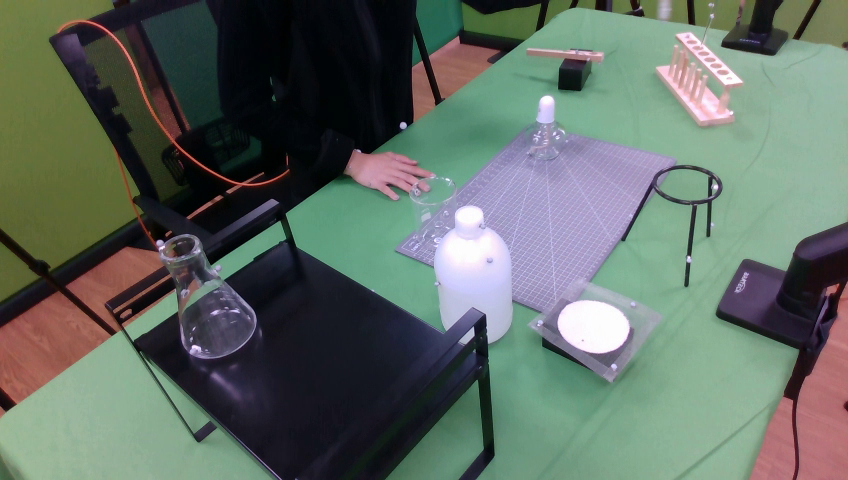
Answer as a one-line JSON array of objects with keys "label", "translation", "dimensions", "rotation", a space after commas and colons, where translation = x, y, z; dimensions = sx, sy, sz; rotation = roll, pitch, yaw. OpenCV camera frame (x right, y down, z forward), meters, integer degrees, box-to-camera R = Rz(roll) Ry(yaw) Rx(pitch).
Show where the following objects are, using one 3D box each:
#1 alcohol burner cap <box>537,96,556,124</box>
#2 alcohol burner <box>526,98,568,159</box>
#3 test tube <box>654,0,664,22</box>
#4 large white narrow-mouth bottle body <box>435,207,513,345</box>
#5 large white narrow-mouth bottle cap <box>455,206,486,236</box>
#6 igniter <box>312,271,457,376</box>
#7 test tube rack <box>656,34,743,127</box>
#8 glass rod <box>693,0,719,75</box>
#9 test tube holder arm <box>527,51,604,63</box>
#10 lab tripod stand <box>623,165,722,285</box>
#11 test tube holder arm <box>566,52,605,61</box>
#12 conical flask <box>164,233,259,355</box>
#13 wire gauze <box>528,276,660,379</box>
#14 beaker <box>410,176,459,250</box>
[{"label": "alcohol burner cap", "translation": [0.223, -0.237, 1.095], "dimensions": [0.034, 0.048, 0.033], "rotation": [-2, 37, 2]}, {"label": "alcohol burner", "translation": [0.228, -0.210, 1.118], "dimensions": [0.078, 0.119, 0.077], "rotation": [-5, 43, 5]}, {"label": "test tube", "translation": [0.390, -0.434, 0.998], "dimensions": [0.017, 0.151, 0.017], "rotation": [-9, 40, 8]}, {"label": "large white narrow-mouth bottle body", "translation": [0.065, 0.041, 0.791], "dimensions": [0.102, 0.195, 0.101], "rotation": [-4, 41, 4]}, {"label": "large white narrow-mouth bottle cap", "translation": [0.057, -0.023, 0.734], "dimensions": [0.038, 0.024, 0.037], "rotation": [-4, 40, 4]}, {"label": "igniter", "translation": [-0.068, 0.111, 0.859], "dimensions": [0.274, 0.025, 0.057], "rotation": [27, 61, 34]}, {"label": "test tube rack", "translation": [0.554, -0.330, 1.233], "dimensions": [0.067, 0.085, 0.241], "rotation": [-7, 40, 2]}, {"label": "glass rod", "translation": [0.561, -0.402, 1.214], "dimensions": [0.008, 0.200, 0.008], "rotation": [-1, 48, 2]}, {"label": "test tube holder arm", "translation": [0.311, -0.408, 1.344], "dimensions": [0.177, 0.015, 0.013], "rotation": [14, 38, 30]}, {"label": "lab tripod stand", "translation": [0.365, -0.030, 0.874], "dimensions": [0.148, 0.132, 0.147], "rotation": [-6, 41, 6]}, {"label": "test tube holder arm", "translation": [0.352, -0.401, 1.325], "dimensions": [0.087, 0.015, 0.010], "rotation": [15, 38, 31]}, {"label": "conical flask", "translation": [-0.216, 0.051, 0.601], "dimensions": [0.075, 0.122, 0.075], "rotation": [-4, 40, 4]}, {"label": "wire gauze", "translation": [0.214, 0.103, 0.763], "dimensions": [0.124, 0.011, 0.122], "rotation": [30, 52, 35]}, {"label": "beaker", "translation": [0.022, -0.041, 0.963], "dimensions": [0.073, 0.101, 0.084], "rotation": [28, 51, 35]}]
